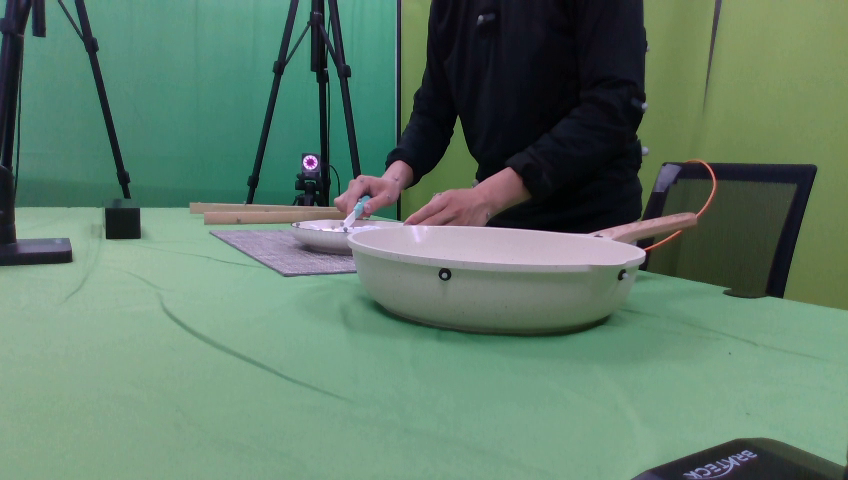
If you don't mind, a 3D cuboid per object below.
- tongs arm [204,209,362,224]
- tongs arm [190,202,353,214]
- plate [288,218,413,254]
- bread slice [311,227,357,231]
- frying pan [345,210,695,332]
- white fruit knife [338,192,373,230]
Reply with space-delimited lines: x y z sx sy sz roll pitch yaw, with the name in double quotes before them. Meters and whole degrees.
"tongs arm" -0.292 -0.054 1.337 0.390 0.028 0.028 -4 7 -40
"tongs arm" -0.333 -0.068 1.403 0.387 0.026 0.050 0 9 -27
"plate" -0.109 -0.007 0.956 0.208 0.039 0.207 2 7 0
"bread slice" -0.115 -0.005 0.950 0.134 0.018 0.107 3 6 -7
"frying pan" 0.153 0.009 0.668 0.490 0.102 0.305 -12 15 -32
"white fruit knife" -0.112 -0.045 0.993 0.016 0.027 0.207 9 21 5
